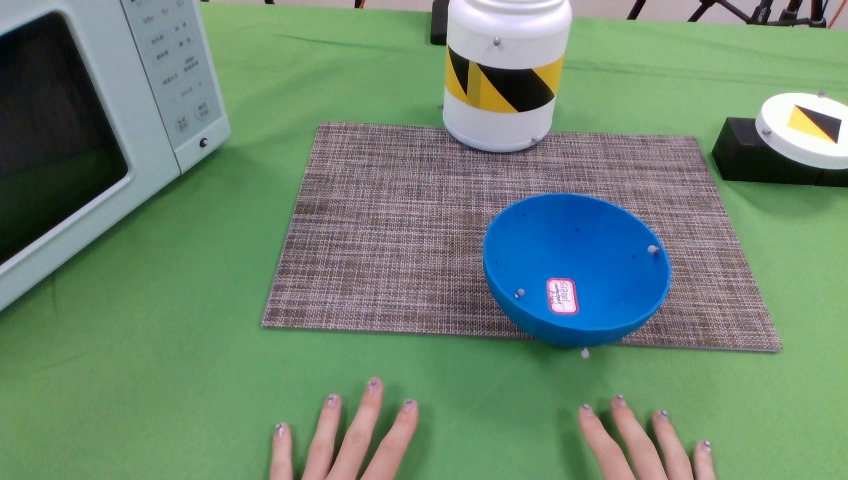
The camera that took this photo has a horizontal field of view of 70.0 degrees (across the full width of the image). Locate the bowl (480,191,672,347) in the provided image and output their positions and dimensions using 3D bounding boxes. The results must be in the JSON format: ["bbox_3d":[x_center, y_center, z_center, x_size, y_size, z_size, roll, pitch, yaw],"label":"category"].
[{"bbox_3d":[0.120,0.037,0.514,0.151,0.077,0.150,1,47,0],"label":"bowl"}]

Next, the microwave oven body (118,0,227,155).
[{"bbox_3d":[-0.457,-0.124,0.520,0.324,0.262,0.440,24,51,19],"label":"microwave oven body"}]

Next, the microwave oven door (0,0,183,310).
[{"bbox_3d":[-0.352,-0.047,0.444,0.039,0.246,0.354,23,50,20],"label":"microwave oven door"}]

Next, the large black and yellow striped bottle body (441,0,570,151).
[{"bbox_3d":[0.088,-0.207,0.669,0.131,0.185,0.129,1,44,-1],"label":"large black and yellow striped bottle body"}]

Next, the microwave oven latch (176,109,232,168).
[{"bbox_3d":[-0.241,-0.112,0.649,0.030,0.030,0.079,26,52,20],"label":"microwave oven latch"}]

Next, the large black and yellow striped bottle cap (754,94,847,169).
[{"bbox_3d":[0.417,-0.118,0.648,0.115,0.019,0.114,0,46,0],"label":"large black and yellow striped bottle cap"}]
